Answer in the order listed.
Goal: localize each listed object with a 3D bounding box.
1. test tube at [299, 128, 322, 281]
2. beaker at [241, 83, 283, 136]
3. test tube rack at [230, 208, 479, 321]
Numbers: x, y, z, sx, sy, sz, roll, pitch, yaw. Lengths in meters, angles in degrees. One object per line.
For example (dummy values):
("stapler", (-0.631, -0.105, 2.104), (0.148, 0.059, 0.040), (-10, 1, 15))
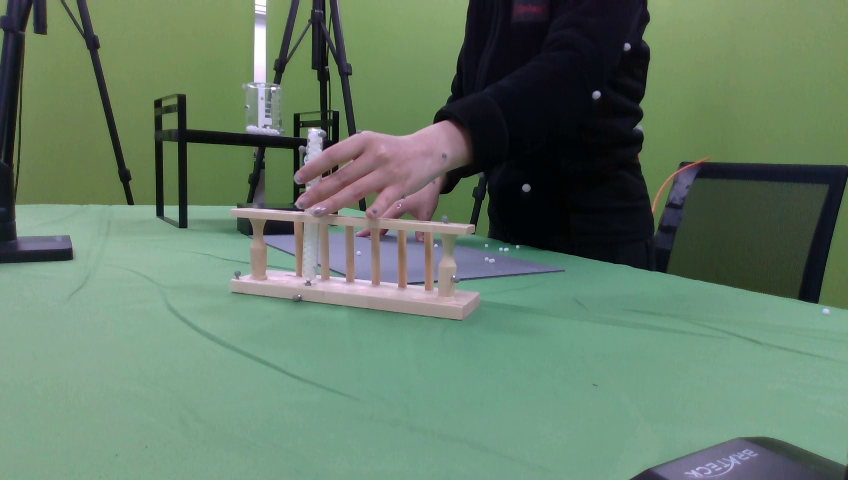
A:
("test tube", (-0.111, -0.033, 0.590), (0.017, 0.150, 0.017), (4, 7, 0))
("beaker", (-0.324, -0.259, 1.208), (0.084, 0.100, 0.073), (-4, 9, -37))
("test tube rack", (-0.069, 0.017, 0.598), (0.242, 0.085, 0.067), (5, 8, 18))
